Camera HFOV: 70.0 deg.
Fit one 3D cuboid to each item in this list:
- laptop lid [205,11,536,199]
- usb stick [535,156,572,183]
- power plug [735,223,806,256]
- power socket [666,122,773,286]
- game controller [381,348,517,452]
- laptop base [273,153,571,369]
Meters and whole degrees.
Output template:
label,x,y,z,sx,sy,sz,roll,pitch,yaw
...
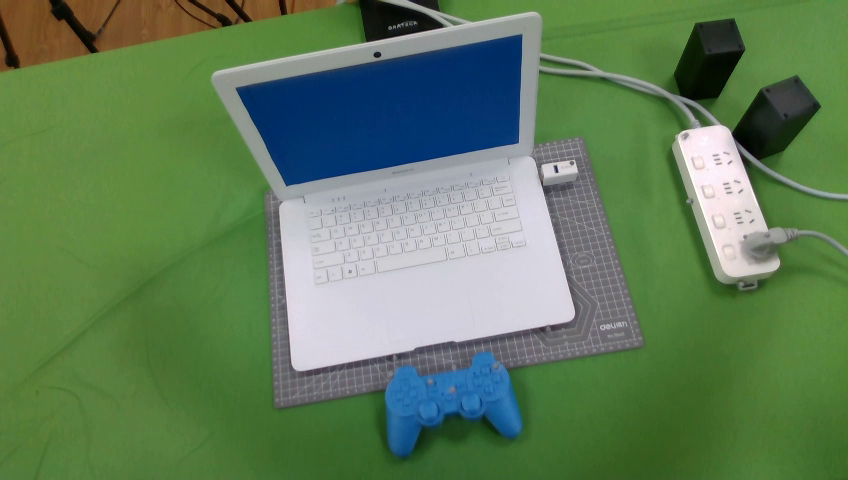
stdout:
label,x,y,z,sx,sy,sz,roll,pitch,yaw
laptop lid,-0.045,-0.146,0.723,0.357,0.244,0.013,-12,59,2
usb stick,0.163,-0.091,0.798,0.059,0.027,0.021,-11,68,4
power plug,0.410,0.003,0.723,0.072,0.053,0.035,4,67,3
power socket,0.372,-0.053,0.770,0.072,0.033,0.225,-9,67,2
game controller,0.025,0.181,0.696,0.155,0.052,0.096,-10,65,0
laptop base,-0.012,0.021,0.780,0.354,0.023,0.234,-11,70,0
